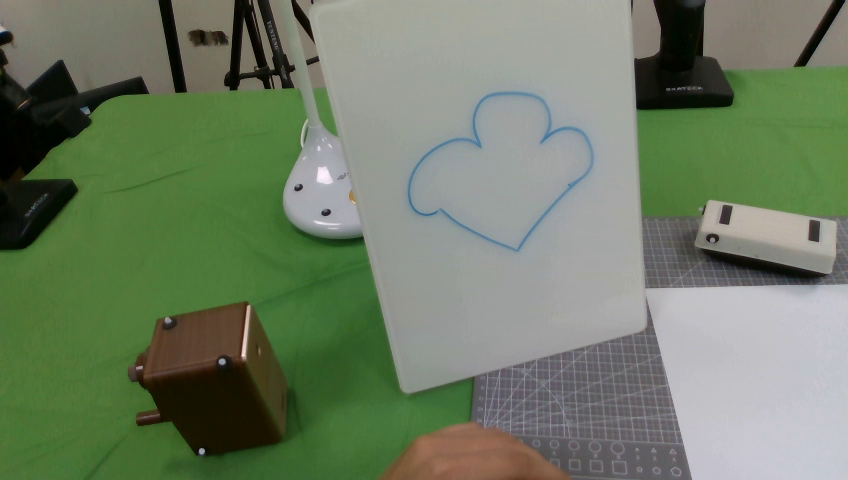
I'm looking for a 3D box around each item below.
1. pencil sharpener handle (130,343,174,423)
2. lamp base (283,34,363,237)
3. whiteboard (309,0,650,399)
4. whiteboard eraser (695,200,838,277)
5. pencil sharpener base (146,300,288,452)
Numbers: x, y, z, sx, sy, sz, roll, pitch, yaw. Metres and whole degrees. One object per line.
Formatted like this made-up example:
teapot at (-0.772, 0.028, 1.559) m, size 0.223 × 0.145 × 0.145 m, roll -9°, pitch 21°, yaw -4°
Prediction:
pencil sharpener handle at (-0.206, 0.109, 0.450) m, size 0.030 × 0.068 × 0.035 m, roll -11°, pitch 29°, yaw -2°
lamp base at (-0.099, -0.121, 0.656) m, size 0.160 × 0.182 × 0.177 m, roll -33°, pitch 45°, yaw -26°
whiteboard at (0.049, -0.057, 0.510) m, size 0.217 × 0.307 × 0.142 m, roll -13°, pitch 22°, yaw -5°
whiteboard eraser at (0.312, -0.001, 0.555) m, size 0.112 × 0.042 × 0.055 m, roll 14°, pitch 47°, yaw 23°
pencil sharpener base at (-0.155, 0.107, 0.463) m, size 0.077 × 0.108 × 0.060 m, roll -11°, pitch 42°, yaw -2°
